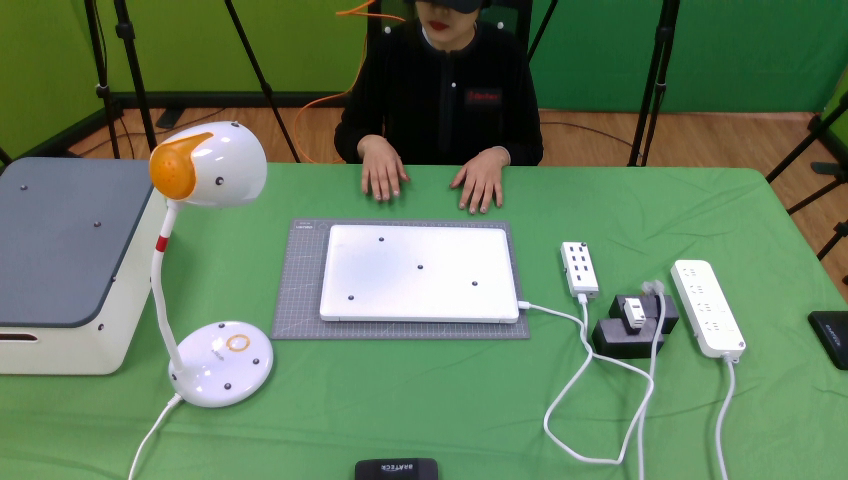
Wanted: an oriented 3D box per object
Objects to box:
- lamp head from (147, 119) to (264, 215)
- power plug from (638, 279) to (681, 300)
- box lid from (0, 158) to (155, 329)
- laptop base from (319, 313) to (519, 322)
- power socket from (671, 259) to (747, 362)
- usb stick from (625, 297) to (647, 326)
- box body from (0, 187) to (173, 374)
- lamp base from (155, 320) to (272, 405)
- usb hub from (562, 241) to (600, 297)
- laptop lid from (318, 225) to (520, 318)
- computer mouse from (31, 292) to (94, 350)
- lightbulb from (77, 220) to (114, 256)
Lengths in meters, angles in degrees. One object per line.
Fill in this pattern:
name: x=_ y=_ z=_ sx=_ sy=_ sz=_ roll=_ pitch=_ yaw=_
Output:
lamp head: x=-0.276 y=-0.087 z=0.740 sx=0.112 sy=0.112 sz=0.123 roll=20 pitch=23 yaw=15
power plug: x=0.434 y=0.100 z=1.118 sx=0.073 sy=0.053 sz=0.035 roll=34 pitch=37 yaw=-14
box lid: x=-0.598 y=-0.011 z=0.964 sx=0.263 sy=0.015 sz=0.369 roll=1 pitch=45 yaw=-3
laptop base: x=-0.009 y=0.062 z=1.137 sx=0.354 sy=0.023 sz=0.234 roll=1 pitch=42 yaw=-3
power socket: x=0.516 y=0.119 z=1.108 sx=0.072 sy=0.033 sz=0.225 roll=1 pitch=46 yaw=-2
usb stick: x=0.360 y=0.116 z=1.034 sx=0.021 sy=0.027 sz=0.059 roll=-2 pitch=44 yaw=-2
box body: x=-0.601 y=0.039 z=1.019 sx=0.254 sy=0.161 sz=0.361 roll=1 pitch=46 yaw=-3
lamp base: x=-0.330 y=0.149 z=0.918 sx=0.160 sy=0.181 sz=0.179 roll=26 pitch=52 yaw=20
usb hub: x=0.300 y=0.054 z=1.162 sx=0.049 sy=0.025 sz=0.124 roll=3 pitch=46 yaw=-3
laptop lid: x=-0.009 y=0.052 z=1.131 sx=0.357 sy=0.013 sz=0.240 roll=2 pitch=43 yaw=-2
computer mouse: x=-0.602 y=0.130 z=1.009 sx=0.063 sy=0.041 sz=0.116 roll=-1 pitch=42 yaw=-1
lightbulb: x=-0.614 y=-0.009 z=1.139 sx=0.059 sy=0.060 sz=0.107 roll=-14 pitch=28 yaw=-16
